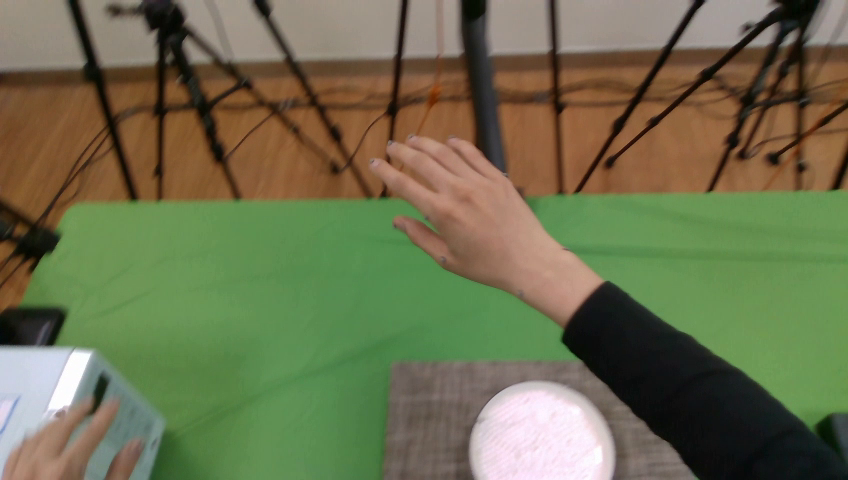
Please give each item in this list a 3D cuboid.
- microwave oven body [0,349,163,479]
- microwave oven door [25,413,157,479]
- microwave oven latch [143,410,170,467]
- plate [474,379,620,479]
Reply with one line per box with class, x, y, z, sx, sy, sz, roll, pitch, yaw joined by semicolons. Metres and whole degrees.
microwave oven body;-0.569;0.384;0.741;0.326;0.262;0.437;0;54;3
microwave oven door;-0.426;0.413;0.703;0.039;0.246;0.352;-1;53;4
microwave oven latch;-0.409;0.299;0.914;0.030;0.030;0.078;2;54;5
plate;0.177;0.306;0.885;0.209;0.038;0.207;-2;53;3
